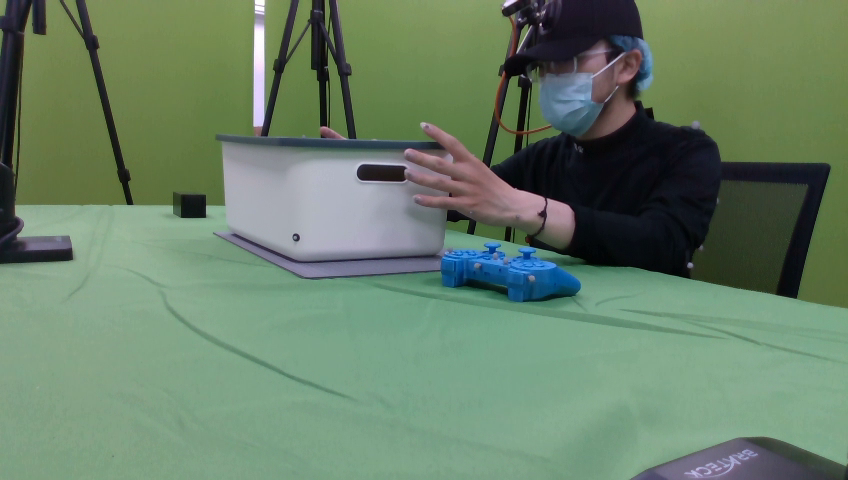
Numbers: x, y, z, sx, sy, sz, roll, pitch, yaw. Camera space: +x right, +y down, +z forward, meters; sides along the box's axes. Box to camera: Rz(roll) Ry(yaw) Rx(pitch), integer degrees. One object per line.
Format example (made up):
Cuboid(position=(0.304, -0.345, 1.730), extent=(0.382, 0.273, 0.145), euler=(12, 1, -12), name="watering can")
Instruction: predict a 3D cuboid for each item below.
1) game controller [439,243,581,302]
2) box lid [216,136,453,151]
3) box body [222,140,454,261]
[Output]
Cuboid(position=(0.090, 0.033, 0.685), extent=(0.154, 0.051, 0.097), euler=(8, 13, 42), name="game controller")
Cuboid(position=(-0.152, -0.149, 0.940), extent=(0.265, 0.015, 0.369), euler=(-4, 10, -32), name="box lid")
Cuboid(position=(-0.152, -0.074, 0.963), extent=(0.255, 0.160, 0.362), euler=(-2, 9, -33), name="box body")
